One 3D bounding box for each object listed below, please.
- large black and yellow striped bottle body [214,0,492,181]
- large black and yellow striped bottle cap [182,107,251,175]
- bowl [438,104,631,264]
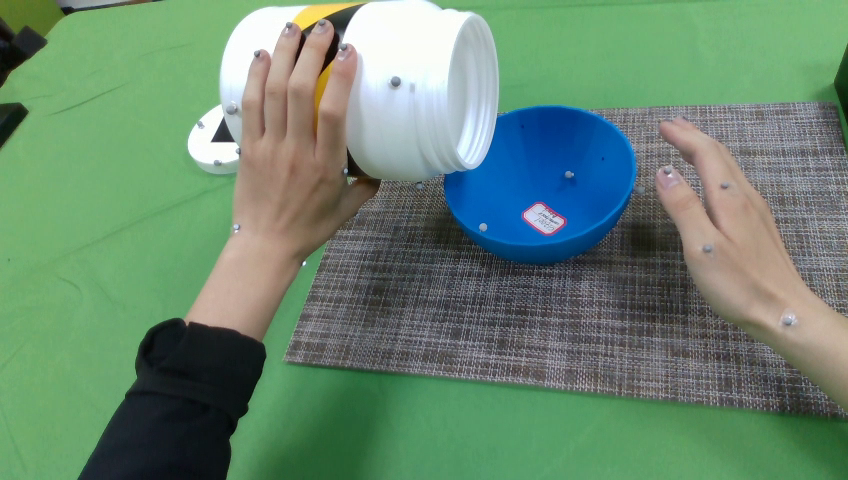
[{"bbox_3d":[-0.050,-0.113,0.469,0.183,0.132,0.130,6,56,23],"label":"large black and yellow striped bottle body"},{"bbox_3d":[-0.225,-0.123,0.709,0.115,0.019,0.114,-7,52,9],"label":"large black and yellow striped bottle cap"},{"bbox_3d":[0.092,-0.033,0.505,0.151,0.077,0.150,-7,52,10],"label":"bowl"}]
